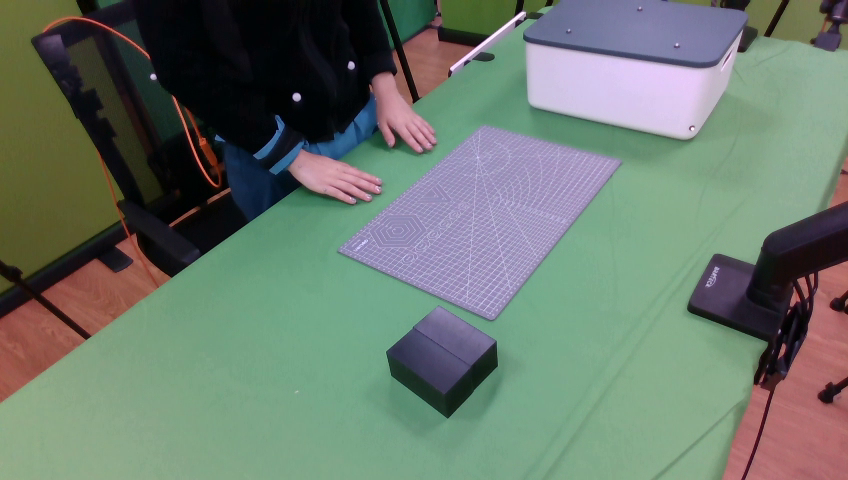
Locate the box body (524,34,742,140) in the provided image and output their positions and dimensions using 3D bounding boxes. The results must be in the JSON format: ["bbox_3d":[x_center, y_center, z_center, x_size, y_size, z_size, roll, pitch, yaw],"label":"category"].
[{"bbox_3d":[0.412,-0.354,1.212,0.361,0.161,0.254,20,48,29],"label":"box body"}]

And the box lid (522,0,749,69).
[{"bbox_3d":[0.405,-0.409,1.163,0.369,0.015,0.264,20,47,29],"label":"box lid"}]
